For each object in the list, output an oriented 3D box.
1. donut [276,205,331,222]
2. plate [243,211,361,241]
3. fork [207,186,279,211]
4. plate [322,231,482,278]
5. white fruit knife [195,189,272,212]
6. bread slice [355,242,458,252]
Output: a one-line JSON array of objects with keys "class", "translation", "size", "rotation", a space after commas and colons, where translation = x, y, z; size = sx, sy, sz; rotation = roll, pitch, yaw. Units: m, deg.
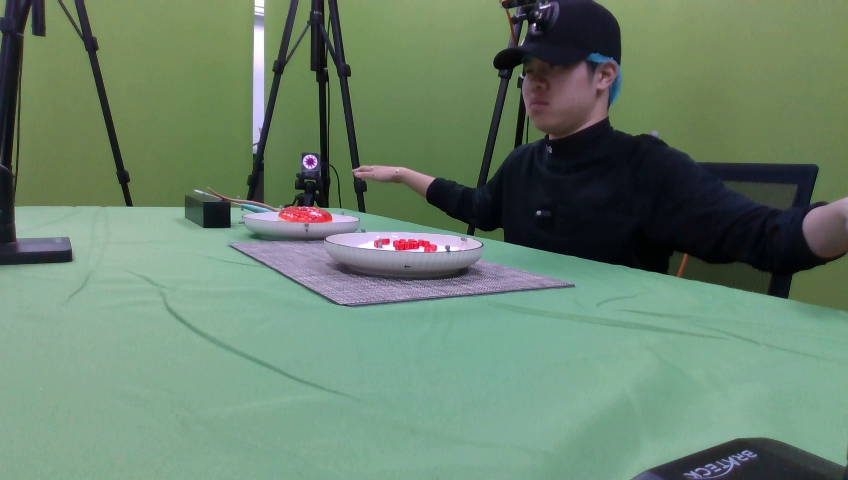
[{"class": "donut", "translation": [-0.218, -0.037, 1.091], "size": [0.099, 0.048, 0.099], "rotation": [5, 9, 0]}, {"class": "plate", "translation": [-0.219, -0.025, 1.092], "size": [0.208, 0.039, 0.207], "rotation": [2, 7, 0]}, {"class": "fork", "translation": [-0.342, -0.070, 1.244], "size": [0.208, 0.018, 0.028], "rotation": [18, -5, -24]}, {"class": "plate", "translation": [-0.028, 0.018, 0.789], "size": [0.209, 0.038, 0.209], "rotation": [3, 7, 0]}, {"class": "white fruit knife", "translation": [-0.378, -0.073, 1.270], "size": [0.208, 0.016, 0.027], "rotation": [18, -4, -32]}, {"class": "bread slice", "translation": [-0.027, 0.019, 0.793], "size": [0.131, 0.019, 0.105], "rotation": [6, 7, 18]}]
